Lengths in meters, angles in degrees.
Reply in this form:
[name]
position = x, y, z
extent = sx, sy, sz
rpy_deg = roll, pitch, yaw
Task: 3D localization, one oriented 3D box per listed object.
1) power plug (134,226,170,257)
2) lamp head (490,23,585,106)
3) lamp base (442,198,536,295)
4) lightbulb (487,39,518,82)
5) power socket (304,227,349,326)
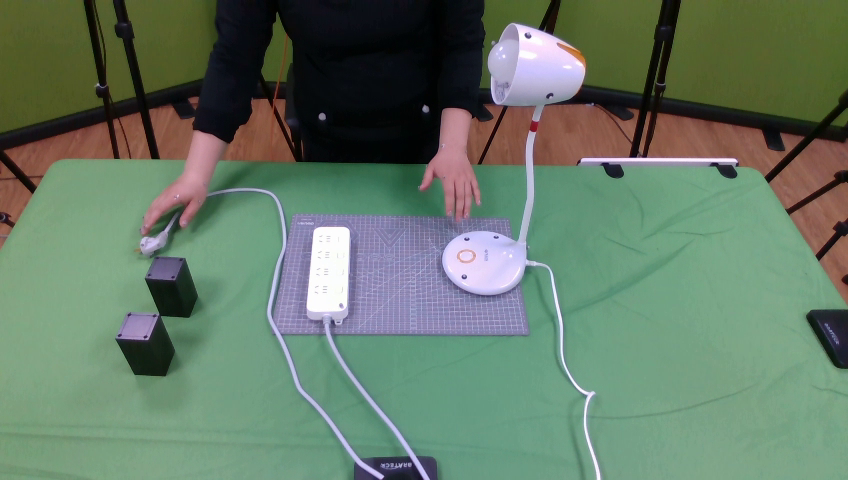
[power plug]
position = -0.516, 0.005, 1.152
extent = 0.052, 0.035, 0.072
rpy_deg = -6, 25, 5
[lamp head]
position = 0.165, -0.241, 0.872
extent = 0.123, 0.113, 0.111
rpy_deg = 9, 43, -17
[lamp base]
position = 0.130, -0.012, 1.104
extent = 0.179, 0.181, 0.159
rpy_deg = -1, 46, -9
[lightbulb]
position = 0.143, -0.252, 0.865
extent = 0.108, 0.060, 0.059
rpy_deg = 9, 45, -7
[power socket]
position = -0.177, 0.059, 1.115
extent = 0.072, 0.033, 0.225
rpy_deg = -1, 46, -4
